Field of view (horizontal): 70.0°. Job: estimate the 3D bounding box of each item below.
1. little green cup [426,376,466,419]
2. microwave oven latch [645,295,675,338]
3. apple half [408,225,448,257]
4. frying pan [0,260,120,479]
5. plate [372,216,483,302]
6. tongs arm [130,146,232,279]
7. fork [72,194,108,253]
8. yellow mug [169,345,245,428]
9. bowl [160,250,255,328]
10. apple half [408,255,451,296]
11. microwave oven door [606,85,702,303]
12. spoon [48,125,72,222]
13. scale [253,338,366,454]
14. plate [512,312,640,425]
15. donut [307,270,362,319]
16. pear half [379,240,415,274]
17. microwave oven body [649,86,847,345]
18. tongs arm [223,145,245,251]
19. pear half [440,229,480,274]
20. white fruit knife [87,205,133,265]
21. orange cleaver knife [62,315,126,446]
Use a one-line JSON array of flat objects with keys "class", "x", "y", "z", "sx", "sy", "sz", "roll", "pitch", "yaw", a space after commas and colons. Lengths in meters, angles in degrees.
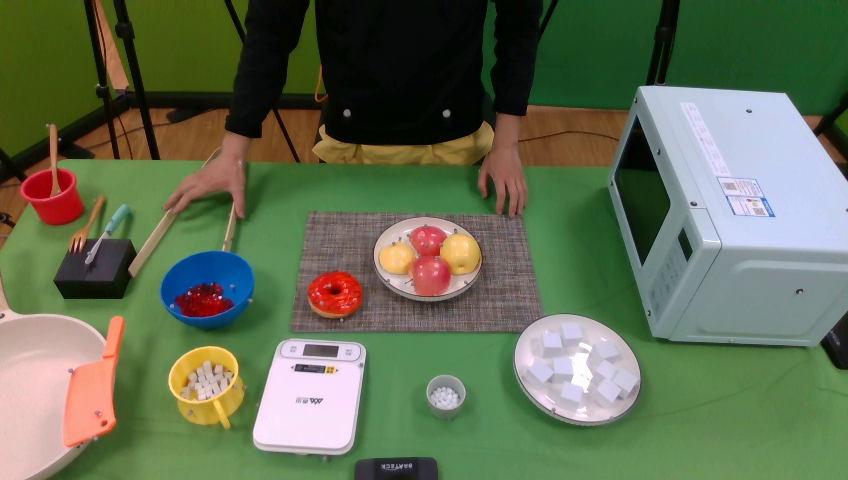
[{"class": "little green cup", "x": 0.033, "y": 0.248, "z": 0.950, "sx": 0.061, "sy": 0.039, "sz": 0.061, "roll": 2, "pitch": 46, "yaw": -2}, {"class": "microwave oven latch", "x": 0.411, "y": 0.134, "z": 1.061, "sx": 0.030, "sy": 0.029, "sz": 0.078, "roll": 3, "pitch": 45, "yaw": 0}, {"class": "apple half", "x": 0.011, "y": -0.006, "z": 1.176, "sx": 0.081, "sy": 0.033, "sz": 0.081, "roll": 2, "pitch": 54, "yaw": -3}, {"class": "frying pan", "x": -0.647, "y": 0.164, "z": 0.936, "sx": 0.307, "sy": 0.103, "sz": 0.485, "roll": -19, "pitch": 58, "yaw": -22}, {"class": "plate", "x": 0.006, "y": 0.038, "z": 1.145, "sx": 0.209, "sy": 0.038, "sz": 0.208, "roll": 2, "pitch": 46, "yaw": -2}, {"class": "tongs arm", "x": -0.486, "y": -0.069, "z": 1.230, "sx": 0.028, "sy": 0.028, "sz": 0.385, "roll": 4, "pitch": 45, "yaw": 13}, {"class": "fork", "x": -0.634, "y": -0.036, "z": 1.158, "sx": 0.028, "sy": 0.019, "sz": 0.206, "roll": -8, "pitch": 32, "yaw": -8}, {"class": "yellow mug", "x": -0.322, "y": 0.230, "z": 0.922, "sx": 0.100, "sy": 0.064, "sz": 0.130, "roll": -24, "pitch": 53, "yaw": -25}, {"class": "bowl", "x": -0.362, "y": 0.098, "z": 1.040, "sx": 0.151, "sy": 0.077, "sz": 0.150, "roll": 2, "pitch": 45, "yaw": -2}, {"class": "apple half", "x": 0.012, "y": 0.058, "z": 1.103, "sx": 0.075, "sy": 0.053, "sz": 0.080, "roll": -6, "pitch": 44, "yaw": -13}, {"class": "microwave oven door", "x": 0.422, "y": -0.094, "z": 1.140, "sx": 0.039, "sy": 0.245, "sz": 0.353, "roll": 2, "pitch": 46, "yaw": -1}, {"class": "spoon", "x": -0.718, "y": -0.131, "z": 1.189, "sx": 0.041, "sy": 0.021, "sz": 0.193, "roll": -4, "pitch": 90, "yaw": -7}, {"class": "scale", "x": -0.175, "y": 0.236, "z": 0.951, "sx": 0.149, "sy": 0.032, "sz": 0.199, "roll": 4, "pitch": 45, "yaw": 0}, {"class": "plate", "x": 0.246, "y": 0.213, "z": 0.999, "sx": 0.208, "sy": 0.039, "sz": 0.206, "roll": 2, "pitch": 46, "yaw": -2}, {"class": "donut", "x": -0.157, "y": 0.097, "z": 1.073, "sx": 0.099, "sy": 0.048, "sz": 0.098, "roll": 4, "pitch": 45, "yaw": -4}, {"class": "pear half", "x": -0.048, "y": 0.024, "z": 1.146, "sx": 0.070, "sy": 0.031, "sz": 0.087, "roll": 12, "pitch": 47, "yaw": -12}, {"class": "microwave oven body", "x": 0.567, "y": -0.053, "z": 1.118, "sx": 0.326, "sy": 0.261, "sz": 0.439, "roll": 2, "pitch": 45, "yaw": -1}, {"class": "tongs arm", "x": -0.400, "y": -0.068, "z": 1.227, "sx": 0.051, "sy": 0.027, "sz": 0.382, "roll": -4, "pitch": 45, "yaw": 0}, {"class": "pear half", "x": 0.065, "y": 0.007, "z": 1.150, "sx": 0.076, "sy": 0.056, "sz": 0.109, "roll": -11, "pitch": 44, "yaw": -2}, {"class": "white fruit knife", "x": -0.584, "y": -0.013, "z": 1.129, "sx": 0.016, "sy": 0.027, "sz": 0.206, "roll": -1, "pitch": 32, "yaw": -4}, {"class": "orange cleaver knife", "x": -0.480, "y": 0.199, "z": 0.887, "sx": 0.077, "sy": 0.012, "sz": 0.210, "roll": -9, "pitch": 47, "yaw": -7}]
